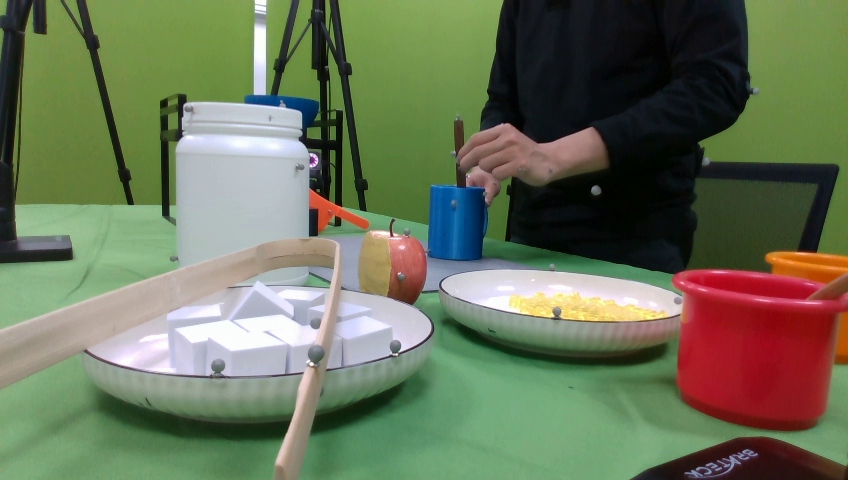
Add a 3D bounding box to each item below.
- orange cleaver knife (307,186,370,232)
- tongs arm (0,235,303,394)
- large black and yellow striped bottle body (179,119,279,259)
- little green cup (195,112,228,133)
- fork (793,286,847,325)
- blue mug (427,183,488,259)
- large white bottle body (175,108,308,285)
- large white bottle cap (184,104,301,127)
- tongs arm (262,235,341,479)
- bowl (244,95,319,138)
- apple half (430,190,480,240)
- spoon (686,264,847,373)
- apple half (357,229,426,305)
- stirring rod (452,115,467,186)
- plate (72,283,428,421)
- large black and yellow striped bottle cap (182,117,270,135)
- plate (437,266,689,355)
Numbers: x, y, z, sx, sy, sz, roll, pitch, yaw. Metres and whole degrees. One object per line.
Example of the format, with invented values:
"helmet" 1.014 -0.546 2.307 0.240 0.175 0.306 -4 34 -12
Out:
"orange cleaver knife" -0.197 -0.056 1.141 0.212 0.077 0.012 29 0 -34
"tongs arm" -0.157 0.038 0.351 0.028 0.028 0.388 -3 8 12
"large black and yellow striped bottle body" -0.271 -0.074 0.846 0.131 0.184 0.130 0 9 0
"little green cup" -0.412 -0.227 1.171 0.061 0.038 0.061 3 8 0
"fork" 0.331 0.018 0.442 0.028 0.018 0.207 -2 -36 -15
"blue mug" 0.059 -0.031 0.906 0.082 0.106 0.117 9 10 42
"large white bottle body" -0.188 -0.042 0.630 0.131 0.184 0.130 2 8 0
"large white bottle cap" -0.184 -0.126 0.618 0.115 0.018 0.115 2 8 0
"tongs arm" -0.074 0.039 0.349 0.051 0.026 0.384 -2 10 -3
"bowl" -0.293 -0.251 1.249 0.151 0.077 0.151 2 8 0
"apple half" 0.046 -0.040 0.903 0.081 0.081 0.032 2 17 -4
"spoon" 0.214 0.032 0.328 0.042 0.021 0.193 -3 -35 -26
"apple half" -0.026 0.028 0.570 0.053 0.074 0.080 3 2 -28
"stirring rod" 0.053 -0.089 0.858 0.014 0.176 0.006 -3 17 9
"plate" -0.102 0.066 0.381 0.208 0.039 0.207 2 7 0
"large black and yellow striped bottle cap" -0.272 -0.156 0.833 0.115 0.019 0.115 1 7 0
"plate" 0.114 0.057 0.517 0.209 0.038 0.209 3 7 0
